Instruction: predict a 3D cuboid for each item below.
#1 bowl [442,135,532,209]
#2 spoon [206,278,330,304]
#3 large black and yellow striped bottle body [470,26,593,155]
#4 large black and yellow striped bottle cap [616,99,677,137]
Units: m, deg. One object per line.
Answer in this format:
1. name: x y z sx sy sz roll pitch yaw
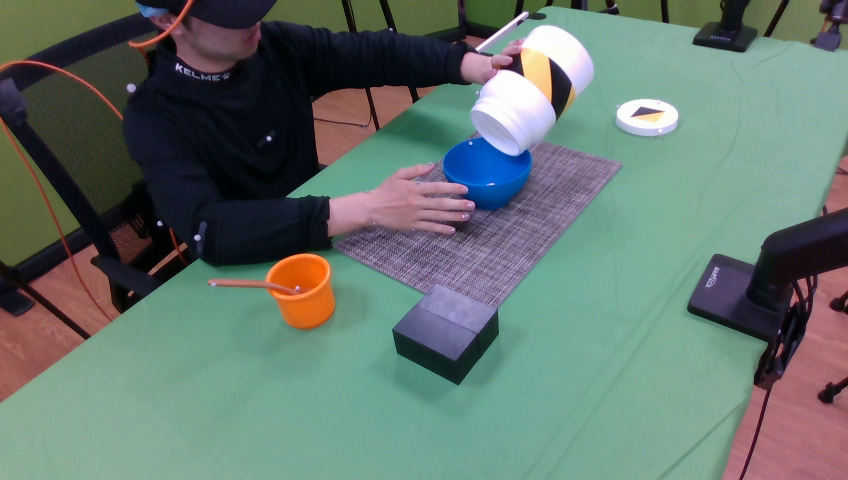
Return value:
1. bowl: 0.108 -0.106 1.026 0.151 0.077 0.150 -4 41 4
2. spoon: -0.207 0.066 0.824 0.041 0.195 0.021 32 99 41
3. large black and yellow striped bottle body: 0.173 -0.242 0.995 0.129 0.132 0.184 34 80 38
4. large black and yellow striped bottle cap: 0.438 -0.242 1.190 0.115 0.019 0.114 -4 42 4
